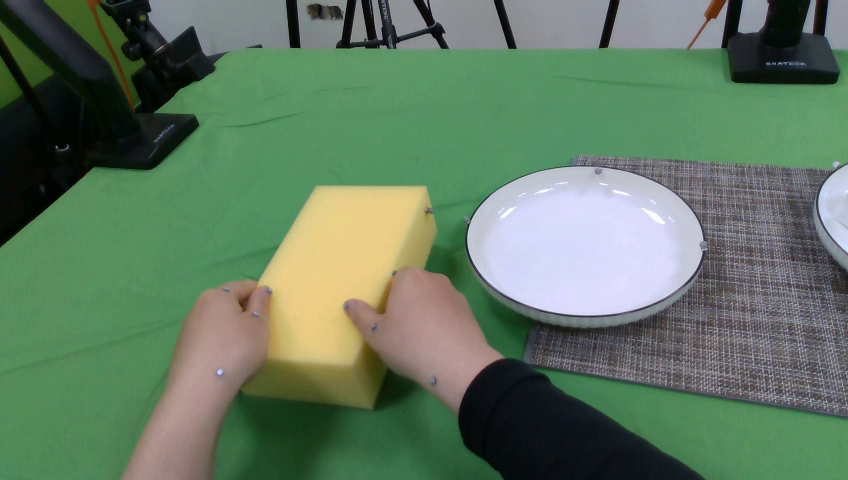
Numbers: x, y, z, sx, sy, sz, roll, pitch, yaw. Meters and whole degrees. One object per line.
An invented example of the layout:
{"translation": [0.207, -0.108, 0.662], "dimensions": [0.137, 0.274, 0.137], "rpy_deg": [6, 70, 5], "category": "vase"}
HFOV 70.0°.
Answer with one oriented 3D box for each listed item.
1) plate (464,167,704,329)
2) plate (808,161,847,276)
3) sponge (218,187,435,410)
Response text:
{"translation": [0.142, 0.006, 0.555], "dimensions": [0.209, 0.038, 0.207], "rpy_deg": [-5, 41, 5], "category": "plate"}
{"translation": [0.435, -0.002, 0.504], "dimensions": [0.207, 0.039, 0.205], "rpy_deg": [-6, 41, 5], "category": "plate"}
{"translation": [-0.075, 0.040, 0.538], "dimensions": [0.118, 0.061, 0.205], "rpy_deg": [3, 46, 19], "category": "sponge"}
